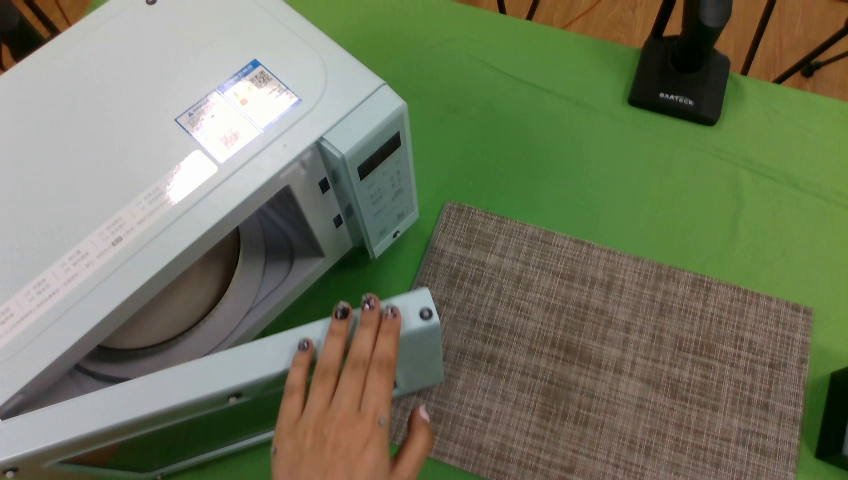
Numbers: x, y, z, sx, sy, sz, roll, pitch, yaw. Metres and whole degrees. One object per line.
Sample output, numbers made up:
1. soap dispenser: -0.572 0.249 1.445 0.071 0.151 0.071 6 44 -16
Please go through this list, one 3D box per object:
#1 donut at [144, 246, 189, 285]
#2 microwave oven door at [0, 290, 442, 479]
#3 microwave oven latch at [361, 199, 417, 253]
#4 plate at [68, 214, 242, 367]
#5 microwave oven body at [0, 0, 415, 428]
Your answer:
1. donut: -0.308 0.005 0.672 0.099 0.048 0.098 6 56 -9
2. microwave oven door: -0.158 0.144 0.553 0.356 0.245 0.039 -18 67 -6
3. microwave oven latch: -0.043 -0.023 0.731 0.030 0.030 0.079 42 75 17
4. plate: -0.290 0.039 0.649 0.209 0.038 0.207 -5 60 9
5. microwave oven body: -0.276 -0.036 0.638 0.324 0.262 0.441 41 75 16
